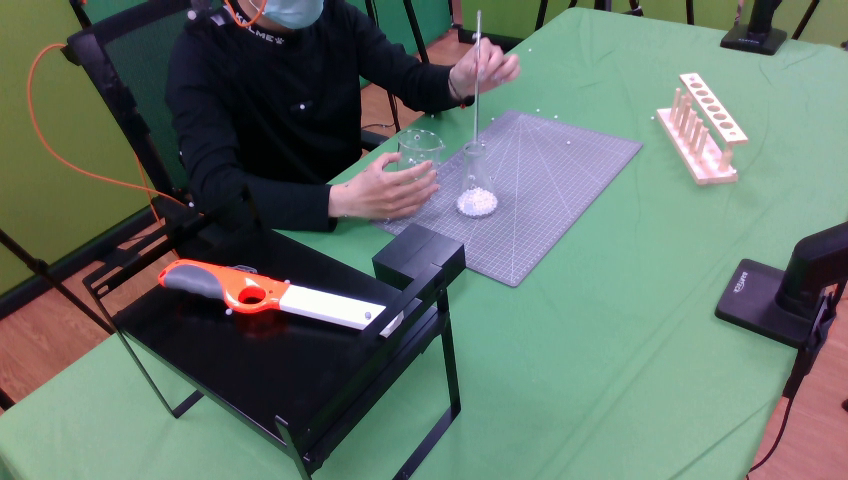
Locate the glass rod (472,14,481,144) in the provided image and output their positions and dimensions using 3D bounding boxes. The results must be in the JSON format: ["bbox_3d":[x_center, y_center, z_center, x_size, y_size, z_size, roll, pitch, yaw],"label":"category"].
[{"bbox_3d":[0.082,-0.252,0.949,0.008,0.199,0.008,2,6,0],"label":"glass rod"}]

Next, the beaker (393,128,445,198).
[{"bbox_3d":[-0.012,-0.128,1.027,0.084,0.100,0.073,7,38,-3],"label":"beaker"}]

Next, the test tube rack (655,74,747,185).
[{"bbox_3d":[0.491,-0.205,1.092,0.067,0.085,0.241,-5,40,3],"label":"test tube rack"}]

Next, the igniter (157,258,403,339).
[{"bbox_3d":[-0.157,0.059,0.638,0.275,0.025,0.057,11,43,14],"label":"igniter"}]

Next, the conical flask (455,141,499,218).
[{"bbox_3d":[0.085,-0.103,0.999,0.075,0.122,0.075,-4,40,4],"label":"conical flask"}]
